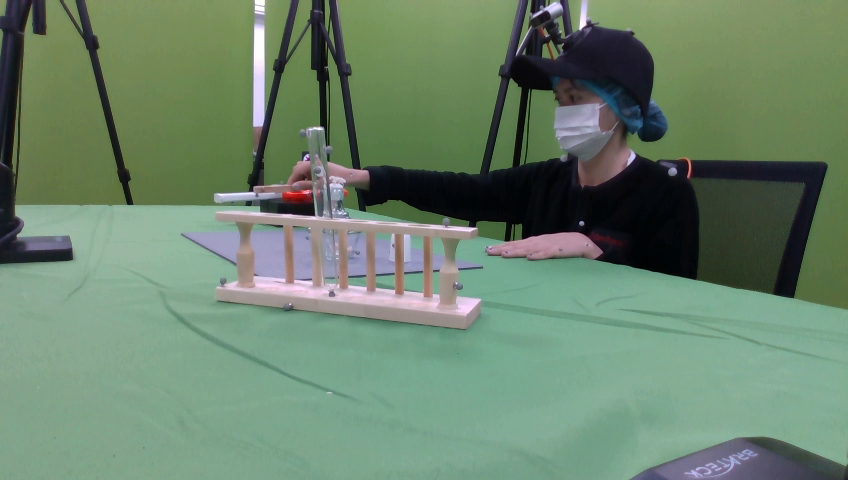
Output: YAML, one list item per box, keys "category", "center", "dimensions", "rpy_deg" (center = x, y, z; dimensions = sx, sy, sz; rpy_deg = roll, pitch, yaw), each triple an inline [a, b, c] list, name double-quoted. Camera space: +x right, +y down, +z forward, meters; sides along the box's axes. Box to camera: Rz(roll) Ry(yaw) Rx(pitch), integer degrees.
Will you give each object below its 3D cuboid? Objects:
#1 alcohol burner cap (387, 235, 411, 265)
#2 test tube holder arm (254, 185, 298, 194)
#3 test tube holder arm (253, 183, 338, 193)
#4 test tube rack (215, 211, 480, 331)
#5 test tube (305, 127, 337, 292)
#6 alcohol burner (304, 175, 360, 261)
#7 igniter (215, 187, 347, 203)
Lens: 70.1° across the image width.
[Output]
- category: "alcohol burner cap"
  center: [-0.035, 0.009, 0.839]
  dimensions: [0.034, 0.048, 0.034]
  rpy_deg: [2, 6, 0]
- category: "test tube holder arm"
  center: [-0.289, -0.099, 1.188]
  dimensions: [0.088, 0.015, 0.010]
  rpy_deg: [-7, 20, -36]
- category: "test tube holder arm"
  center: [-0.256, -0.105, 1.218]
  dimensions: [0.179, 0.015, 0.013]
  rpy_deg: [-7, 20, -36]
- category: "test tube rack"
  center: [-0.071, 0.023, 0.565]
  dimensions: [0.242, 0.085, 0.067]
  rpy_deg: [5, 7, 16]
- category: "test tube"
  center: [-0.092, -0.026, 0.546]
  dimensions: [0.017, 0.150, 0.017]
  rpy_deg: [-4, 8, 1]
- category: "alcohol burner"
  center: [-0.126, -0.031, 0.838]
  dimensions: [0.078, 0.119, 0.078]
  rpy_deg: [3, 5, 0]
- category: "igniter"
  center: [-0.293, -0.094, 1.267]
  dimensions: [0.278, 0.025, 0.057]
  rpy_deg: [-6, 11, -33]
